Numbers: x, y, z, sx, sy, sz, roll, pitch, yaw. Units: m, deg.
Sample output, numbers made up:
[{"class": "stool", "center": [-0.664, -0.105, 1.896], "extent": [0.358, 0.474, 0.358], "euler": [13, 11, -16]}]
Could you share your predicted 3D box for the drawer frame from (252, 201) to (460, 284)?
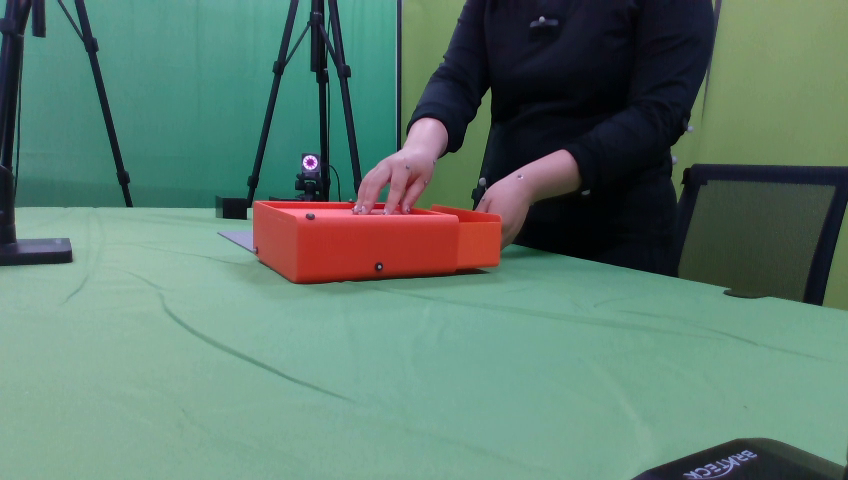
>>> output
[{"class": "drawer frame", "center": [-0.094, -0.005, 0.789], "extent": [0.215, 0.082, 0.200], "euler": [-2, 10, -30]}]

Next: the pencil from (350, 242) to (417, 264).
[{"class": "pencil", "center": [-0.049, 0.015, 0.820], "extent": [0.012, 0.012, 0.195], "euler": [6, 8, 22]}]

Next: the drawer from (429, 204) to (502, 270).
[{"class": "drawer", "center": [-0.034, -0.005, 0.823], "extent": [0.213, 0.073, 0.193], "euler": [-4, 10, -28]}]
